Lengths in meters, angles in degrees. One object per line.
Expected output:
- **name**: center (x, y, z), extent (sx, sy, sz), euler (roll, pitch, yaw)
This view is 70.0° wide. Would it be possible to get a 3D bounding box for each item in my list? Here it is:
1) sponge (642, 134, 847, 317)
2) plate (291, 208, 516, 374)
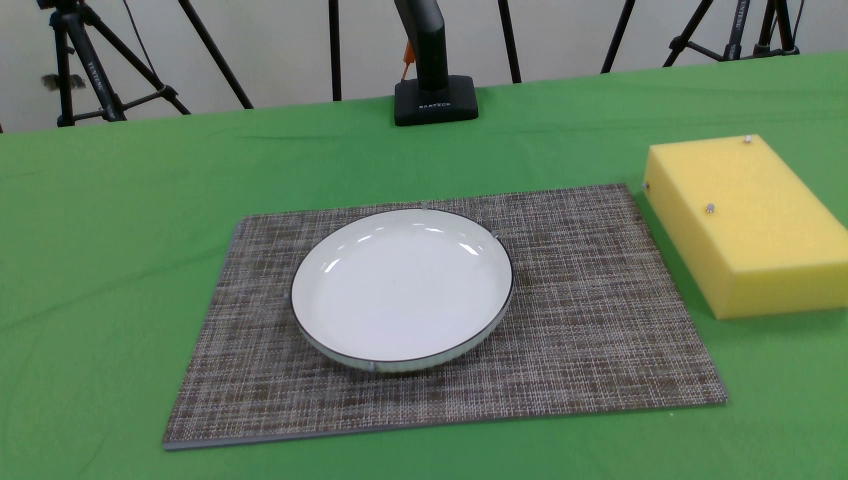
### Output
- **sponge**: center (0.308, -0.023, 0.594), extent (0.118, 0.061, 0.204), euler (-7, 39, 0)
- **plate**: center (-0.018, 0.046, 0.570), extent (0.207, 0.039, 0.205), euler (-4, 39, 4)
